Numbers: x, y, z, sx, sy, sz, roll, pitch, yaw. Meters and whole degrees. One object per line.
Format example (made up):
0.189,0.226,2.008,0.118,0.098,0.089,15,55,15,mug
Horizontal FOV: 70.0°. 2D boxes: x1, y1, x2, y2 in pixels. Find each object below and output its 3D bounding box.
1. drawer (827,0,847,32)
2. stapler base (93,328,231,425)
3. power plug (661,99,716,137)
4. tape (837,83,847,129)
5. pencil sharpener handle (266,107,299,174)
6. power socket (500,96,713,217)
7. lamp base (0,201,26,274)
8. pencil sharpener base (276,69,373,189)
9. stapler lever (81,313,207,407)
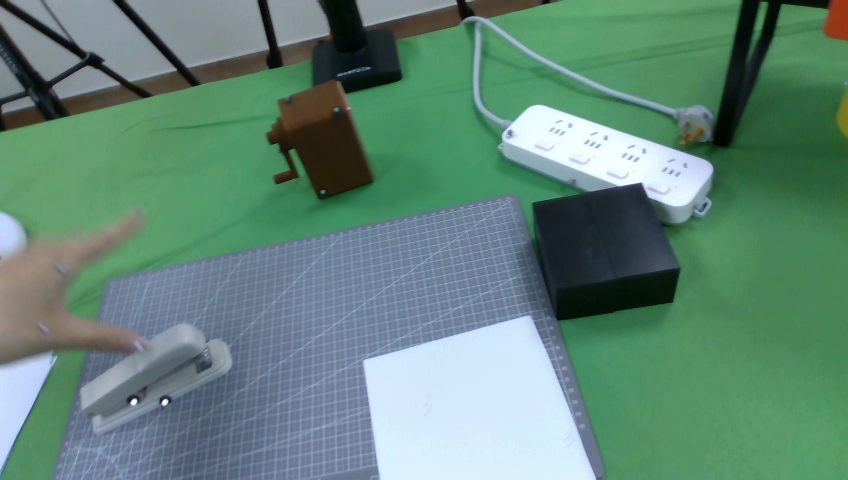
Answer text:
0.407,-0.206,0.400,0.193,0.074,0.211,22,58,28,drawer
-0.241,0.117,0.548,0.130,0.025,0.041,-27,49,-8,stapler base
0.274,-0.125,0.642,0.052,0.035,0.072,-36,15,-22,power plug
0.473,-0.141,0.586,0.117,0.053,0.115,-6,52,8,tape
-0.156,-0.104,0.641,0.030,0.068,0.035,-20,28,-4,pencil sharpener handle
0.182,-0.091,0.622,0.224,0.033,0.072,29,62,32,power socket
-0.562,-0.039,0.647,0.160,0.182,0.177,-36,50,-17,lamp base
-0.107,-0.117,0.659,0.077,0.108,0.060,-20,50,-4,pencil sharpener base
-0.247,0.103,0.529,0.118,0.040,0.026,-26,49,-9,stapler lever
